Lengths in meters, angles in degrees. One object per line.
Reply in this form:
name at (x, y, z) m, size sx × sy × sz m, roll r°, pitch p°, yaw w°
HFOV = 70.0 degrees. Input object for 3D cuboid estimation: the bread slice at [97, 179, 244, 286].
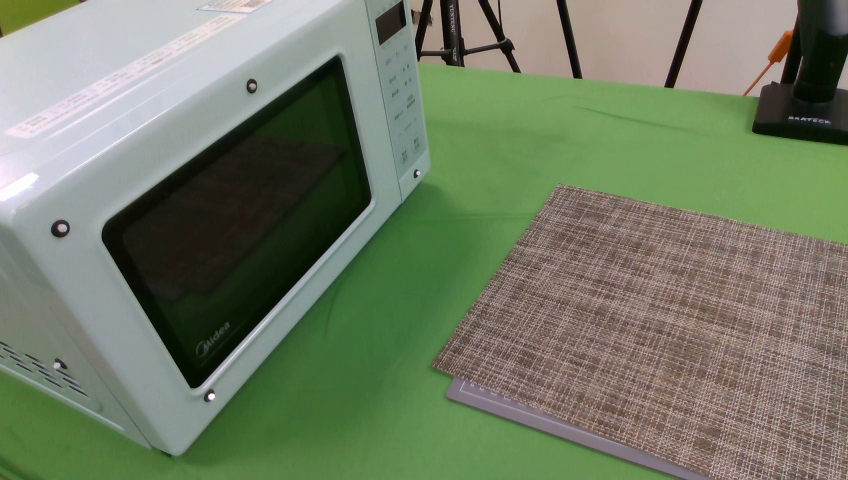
bread slice at (-0.252, -0.018, 0.616) m, size 0.104 × 0.019 × 0.131 m, roll 23°, pitch 52°, yaw 31°

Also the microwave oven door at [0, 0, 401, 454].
microwave oven door at (-0.137, -0.031, 0.513) m, size 0.039 × 0.246 × 0.354 m, roll 13°, pitch 44°, yaw 25°

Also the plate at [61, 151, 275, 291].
plate at (-0.249, -0.020, 0.611) m, size 0.209 × 0.038 × 0.207 m, roll -6°, pitch 39°, yaw 5°

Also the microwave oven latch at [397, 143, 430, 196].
microwave oven latch at (-0.021, -0.085, 0.719) m, size 0.030 × 0.030 × 0.079 m, roll 15°, pitch 45°, yaw 25°

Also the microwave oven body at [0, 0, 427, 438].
microwave oven body at (-0.245, -0.083, 0.605) m, size 0.324 × 0.263 × 0.440 m, roll 14°, pitch 45°, yaw 25°
